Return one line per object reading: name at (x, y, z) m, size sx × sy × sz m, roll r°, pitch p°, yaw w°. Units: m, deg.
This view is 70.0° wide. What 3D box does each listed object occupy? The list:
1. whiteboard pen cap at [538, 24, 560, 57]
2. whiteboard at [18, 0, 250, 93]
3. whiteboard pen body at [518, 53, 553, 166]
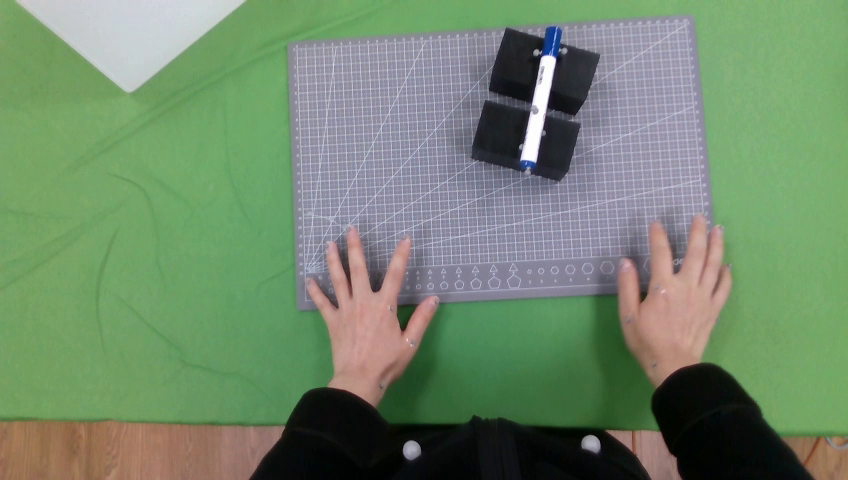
whiteboard pen cap at (0.125, -0.199, 0.610) m, size 0.018 × 0.018 × 0.033 m, roll 12°, pitch 83°, yaw 4°
whiteboard at (-0.328, -0.336, 0.580) m, size 0.217 × 0.308 × 0.142 m, roll -39°, pitch 64°, yaw -1°
whiteboard pen body at (0.113, -0.142, 0.603) m, size 0.017 × 0.017 × 0.140 m, roll 11°, pitch 83°, yaw 4°
